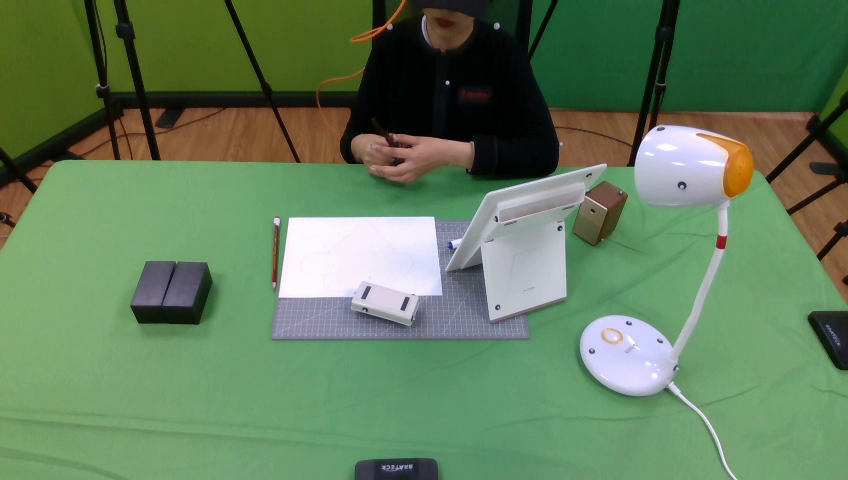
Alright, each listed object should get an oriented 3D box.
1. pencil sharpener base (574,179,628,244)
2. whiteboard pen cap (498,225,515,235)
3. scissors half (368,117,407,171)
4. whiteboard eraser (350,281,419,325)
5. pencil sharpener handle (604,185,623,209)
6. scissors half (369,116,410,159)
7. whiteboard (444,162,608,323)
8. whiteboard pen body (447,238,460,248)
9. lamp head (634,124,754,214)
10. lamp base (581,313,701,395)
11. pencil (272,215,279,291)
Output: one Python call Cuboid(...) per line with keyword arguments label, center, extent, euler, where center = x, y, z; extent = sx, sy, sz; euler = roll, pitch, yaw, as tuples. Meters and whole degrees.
Cuboid(label="pencil sharpener base", center=(0.355, -0.057, 1.217), extent=(0.076, 0.107, 0.061), euler=(-33, 56, -31))
Cuboid(label="whiteboard pen cap", center=(0.166, -0.019, 1.222), extent=(0.033, 0.018, 0.018), euler=(-15, 49, -19))
Cuboid(label="scissors half", center=(-0.076, -0.198, 1.252), extent=(0.012, 0.176, 0.040), euler=(8, 64, 28))
Cuboid(label="whiteboard eraser", center=(-0.069, 0.113, 1.065), extent=(0.112, 0.042, 0.055), euler=(14, 46, 10))
Cuboid(label="pencil sharpener handle", center=(0.390, -0.091, 1.235), extent=(0.030, 0.068, 0.036), euler=(-33, 69, -31))
Cuboid(label="scissors half", center=(-0.071, -0.215, 1.258), extent=(0.013, 0.176, 0.040), euler=(2, 76, 26))
Cuboid(label="whiteboard", center=(0.186, 0.025, 1.029), extent=(0.217, 0.306, 0.143), euler=(-14, 68, -18))
Cuboid(label="whiteboard pen body", center=(0.112, -0.005, 1.203), extent=(0.141, 0.017, 0.017), euler=(-14, 49, -18))
Cuboid(label="lamp head", center=(0.351, -0.089, 0.775), extent=(0.112, 0.113, 0.122), euler=(-30, 30, -28))
Cuboid(label="lamp base", center=(0.361, 0.144, 0.972), extent=(0.178, 0.181, 0.160), euler=(34, 53, 23))
Cuboid(label="pencil", center=(-0.287, 0.022, 1.164), extent=(0.012, 0.012, 0.192), euler=(-4, 48, -8))
